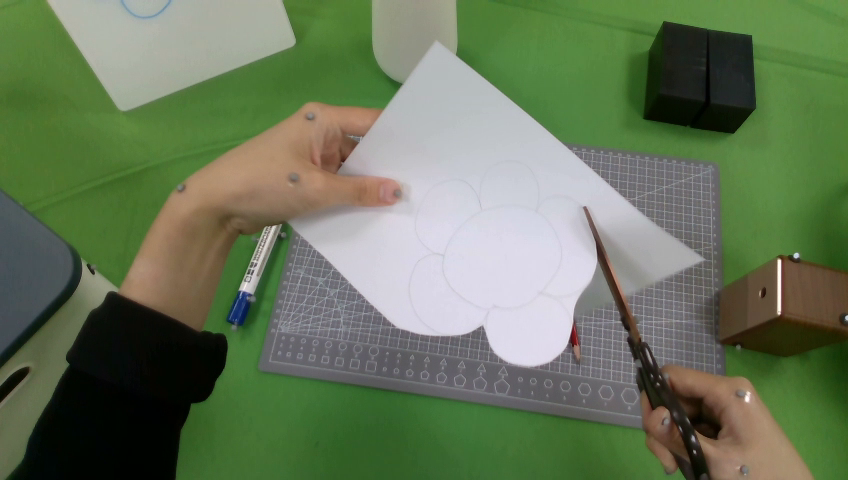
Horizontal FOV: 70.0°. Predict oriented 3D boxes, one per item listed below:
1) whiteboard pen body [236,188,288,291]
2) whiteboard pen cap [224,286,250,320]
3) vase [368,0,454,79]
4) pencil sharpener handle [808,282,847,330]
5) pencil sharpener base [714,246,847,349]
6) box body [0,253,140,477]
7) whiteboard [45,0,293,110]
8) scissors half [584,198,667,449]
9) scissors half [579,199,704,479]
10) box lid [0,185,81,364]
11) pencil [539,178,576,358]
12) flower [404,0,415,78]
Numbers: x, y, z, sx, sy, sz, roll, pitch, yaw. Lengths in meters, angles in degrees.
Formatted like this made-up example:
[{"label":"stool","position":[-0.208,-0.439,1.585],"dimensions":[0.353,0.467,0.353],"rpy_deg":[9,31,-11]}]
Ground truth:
[{"label":"whiteboard pen body","position":[-0.169,0.009,0.621],"dimensions":[0.017,0.017,0.140],"rpy_deg":[14,68,5]},{"label":"whiteboard pen cap","position":[-0.184,0.061,0.599],"dimensions":[0.018,0.018,0.033],"rpy_deg":[14,65,5]},{"label":"vase","position":[-0.015,-0.260,0.630],"dimensions":[0.098,0.201,0.097],"rpy_deg":[0,68,0]},{"label":"pencil sharpener handle","position":[0.384,0.065,0.553],"dimensions":[0.030,0.068,0.035],"rpy_deg":[12,63,0]},{"label":"pencil sharpener base","position":[0.333,0.058,0.565],"dimensions":[0.077,0.107,0.061],"rpy_deg":[12,68,0]},{"label":"box body","position":[-0.475,0.041,0.526],"dimensions":[0.362,0.161,0.253],"rpy_deg":[34,72,11]},{"label":"whiteboard","position":[-0.301,-0.333,0.628],"dimensions":[0.217,0.308,0.142],"rpy_deg":[-25,52,-10]},{"label":"scissors half","position":[0.126,0.054,0.374],"dimensions":[0.013,0.040,0.176],"rpy_deg":[-21,107,7]},{"label":"scissors half","position":[0.125,0.057,0.353],"dimensions":[0.013,0.040,0.174],"rpy_deg":[-21,84,2]},{"label":"box lid","position":[-0.475,0.013,0.457],"dimensions":[0.370,0.015,0.262],"rpy_deg":[34,72,11]},{"label":"pencil","position":[0.139,0.025,0.625],"dimensions":[0.012,0.012,0.192],"rpy_deg":[-5,71,-3]},{"label":"flower","position":[-0.019,-0.303,0.558],"dimensions":[0.044,0.365,0.038],"rpy_deg":[1,51,3]}]
